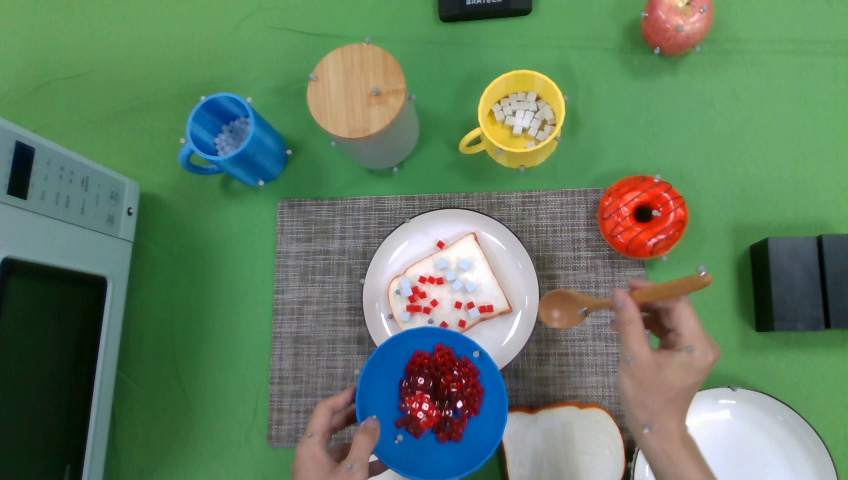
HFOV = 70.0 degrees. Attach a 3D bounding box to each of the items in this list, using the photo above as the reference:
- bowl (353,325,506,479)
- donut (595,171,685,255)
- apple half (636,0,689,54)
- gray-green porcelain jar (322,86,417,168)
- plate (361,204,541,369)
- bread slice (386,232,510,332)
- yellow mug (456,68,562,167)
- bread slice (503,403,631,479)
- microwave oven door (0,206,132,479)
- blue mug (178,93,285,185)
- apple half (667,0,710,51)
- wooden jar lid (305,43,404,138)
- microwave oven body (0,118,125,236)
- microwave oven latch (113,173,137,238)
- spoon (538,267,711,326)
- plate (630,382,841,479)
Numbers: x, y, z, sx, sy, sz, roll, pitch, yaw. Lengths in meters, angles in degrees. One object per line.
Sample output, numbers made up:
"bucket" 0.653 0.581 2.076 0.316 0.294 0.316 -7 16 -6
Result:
"bowl" 0.002 0.169 0.615 0.152 0.077 0.150 4 62 -8
"donut" 0.246 -0.031 0.694 0.099 0.048 0.098 -1 81 7
"apple half" 0.272 -0.246 0.714 0.033 0.081 0.081 -34 77 -4
"gray-green porcelain jar" -0.066 -0.148 0.716 0.106 0.127 0.105 -1 80 7
"plate" 0.032 0.063 0.710 0.207 0.039 0.207 -1 80 8
"bread slice" 0.022 0.064 0.713 0.131 0.019 0.104 -27 78 0
"yellow mug" 0.098 -0.138 0.724 0.131 0.064 0.099 -25 78 3
"bread slice" 0.155 0.230 0.642 0.135 0.018 0.106 -6 76 -14
"microwave oven door" -0.412 0.155 0.632 0.039 0.245 0.354 1 80 8
"blue mug" -0.242 -0.113 0.744 0.116 0.106 0.082 -27 78 3
"apple half" 0.303 -0.269 0.715 0.053 0.075 0.080 -33 74 -5
"wooden jar lid" -0.074 -0.159 0.655 0.108 0.021 0.108 -2 78 8
"microwave oven body" -0.553 0.110 0.664 0.325 0.261 0.440 2 81 7
"microwave oven latch" -0.385 -0.044 0.766 0.030 0.029 0.079 4 82 8
"spoon" 0.166 0.050 0.530 0.021 0.193 0.041 -27 91 -29
"plate" 0.323 0.256 0.642 0.209 0.038 0.208 -1 80 8
